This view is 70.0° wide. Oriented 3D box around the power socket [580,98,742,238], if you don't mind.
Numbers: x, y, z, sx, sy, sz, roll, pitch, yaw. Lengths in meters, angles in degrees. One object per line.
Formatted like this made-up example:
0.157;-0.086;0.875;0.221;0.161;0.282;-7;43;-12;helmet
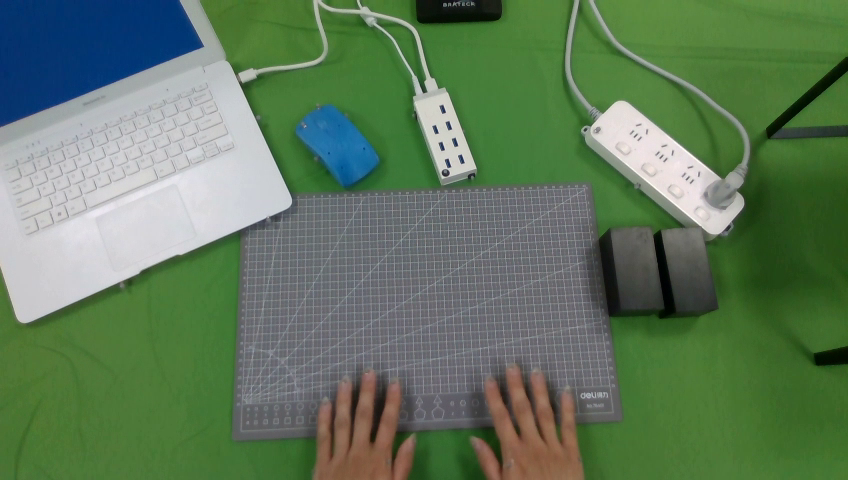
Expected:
0.305;-0.094;0.779;0.226;0.033;0.072;44;77;11;power socket

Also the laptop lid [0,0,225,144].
-0.438;-0.237;0.699;0.357;0.244;0.013;-25;60;-7;laptop lid

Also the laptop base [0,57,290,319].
-0.373;-0.075;0.773;0.354;0.023;0.234;-25;78;-7;laptop base

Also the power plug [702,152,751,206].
0.379;-0.070;0.754;0.072;0.053;0.035;-33;76;-12;power plug

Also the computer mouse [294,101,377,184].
-0.116;-0.130;0.782;0.063;0.041;0.116;-38;74;-9;computer mouse

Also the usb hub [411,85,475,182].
0.023;-0.140;0.793;0.049;0.025;0.124;-18;75;-5;usb hub
